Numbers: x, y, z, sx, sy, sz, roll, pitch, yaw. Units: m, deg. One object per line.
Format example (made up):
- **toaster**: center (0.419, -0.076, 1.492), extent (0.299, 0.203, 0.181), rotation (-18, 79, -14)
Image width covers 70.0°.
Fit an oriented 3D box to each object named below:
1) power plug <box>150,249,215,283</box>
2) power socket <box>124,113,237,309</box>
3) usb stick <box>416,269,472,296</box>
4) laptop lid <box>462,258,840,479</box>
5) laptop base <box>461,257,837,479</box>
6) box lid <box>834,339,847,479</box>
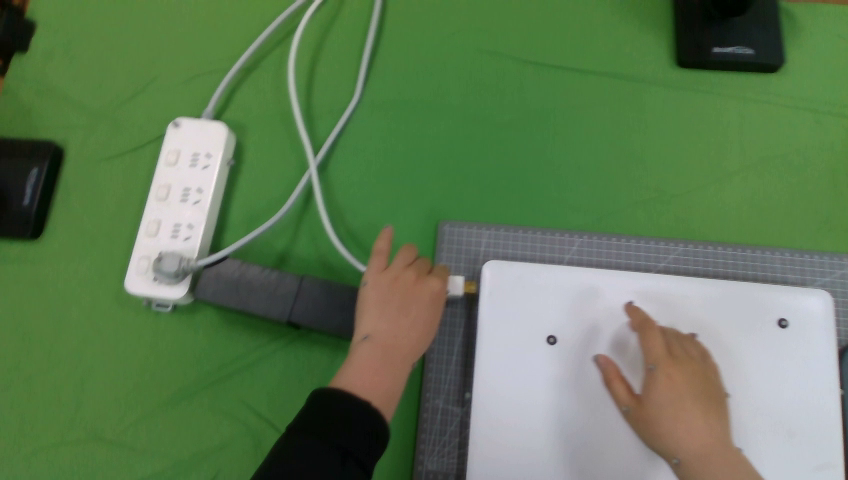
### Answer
- **power plug**: center (-0.248, 0.032, 0.627), extent (0.072, 0.053, 0.035), rotation (19, 75, 7)
- **power socket**: center (-0.265, -0.038, 0.668), extent (0.072, 0.033, 0.225), rotation (8, 74, 4)
- **usb stick**: center (0.023, 0.046, 0.635), extent (0.059, 0.027, 0.021), rotation (8, 83, 18)
- **laptop lid**: center (0.220, 0.145, 0.592), extent (0.356, 0.013, 0.240), rotation (6, 77, 4)
- **laptop base**: center (0.221, 0.146, 0.603), extent (0.354, 0.023, 0.234), rotation (5, 78, 4)
- **box lid**: center (0.521, 0.278, 0.557), extent (0.263, 0.015, 0.369), rotation (5, 75, 3)
